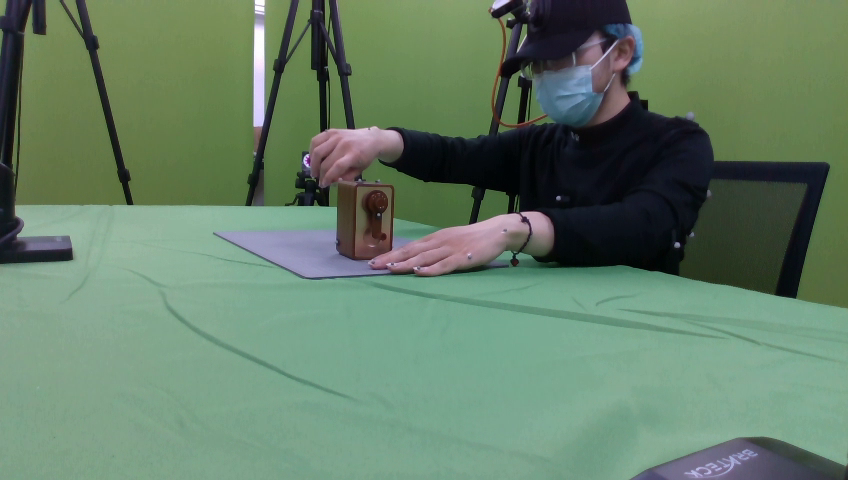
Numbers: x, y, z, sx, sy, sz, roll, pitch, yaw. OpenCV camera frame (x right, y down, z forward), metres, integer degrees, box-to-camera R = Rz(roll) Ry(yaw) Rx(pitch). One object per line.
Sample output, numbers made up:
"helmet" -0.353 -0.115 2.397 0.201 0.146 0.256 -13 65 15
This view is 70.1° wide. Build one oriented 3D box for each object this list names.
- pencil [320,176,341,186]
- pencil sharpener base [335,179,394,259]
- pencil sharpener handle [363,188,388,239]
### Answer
"pencil" -0.158 -0.100 1.023 0.012 0.012 0.193 0 3 -18
"pencil sharpener base" -0.084 -0.030 0.854 0.061 0.107 0.076 -1 9 -28
"pencil sharpener handle" -0.060 -0.035 0.808 0.036 0.067 0.030 -2 9 -28
